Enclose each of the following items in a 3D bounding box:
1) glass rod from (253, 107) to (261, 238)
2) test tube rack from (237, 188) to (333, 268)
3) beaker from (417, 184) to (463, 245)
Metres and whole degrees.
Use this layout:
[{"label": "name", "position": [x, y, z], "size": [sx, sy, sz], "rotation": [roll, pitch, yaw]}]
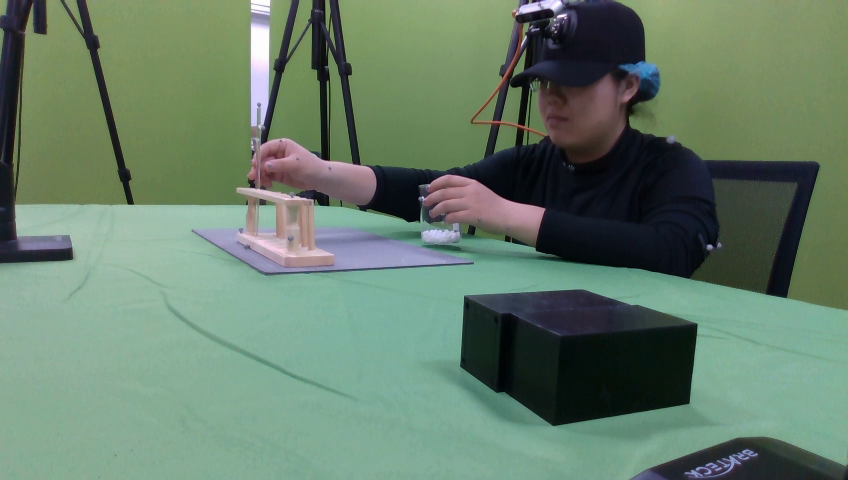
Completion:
[{"label": "glass rod", "position": [-0.251, -0.100, 0.911], "size": [0.008, 0.199, 0.008], "rotation": [3, 3, 0]}, {"label": "test tube rack", "position": [-0.203, -0.024, 0.854], "size": [0.067, 0.085, 0.241], "rotation": [-2, 8, -30]}, {"label": "beaker", "position": [0.031, -0.044, 1.012], "size": [0.083, 0.100, 0.074], "rotation": [1, 4, 41]}]
